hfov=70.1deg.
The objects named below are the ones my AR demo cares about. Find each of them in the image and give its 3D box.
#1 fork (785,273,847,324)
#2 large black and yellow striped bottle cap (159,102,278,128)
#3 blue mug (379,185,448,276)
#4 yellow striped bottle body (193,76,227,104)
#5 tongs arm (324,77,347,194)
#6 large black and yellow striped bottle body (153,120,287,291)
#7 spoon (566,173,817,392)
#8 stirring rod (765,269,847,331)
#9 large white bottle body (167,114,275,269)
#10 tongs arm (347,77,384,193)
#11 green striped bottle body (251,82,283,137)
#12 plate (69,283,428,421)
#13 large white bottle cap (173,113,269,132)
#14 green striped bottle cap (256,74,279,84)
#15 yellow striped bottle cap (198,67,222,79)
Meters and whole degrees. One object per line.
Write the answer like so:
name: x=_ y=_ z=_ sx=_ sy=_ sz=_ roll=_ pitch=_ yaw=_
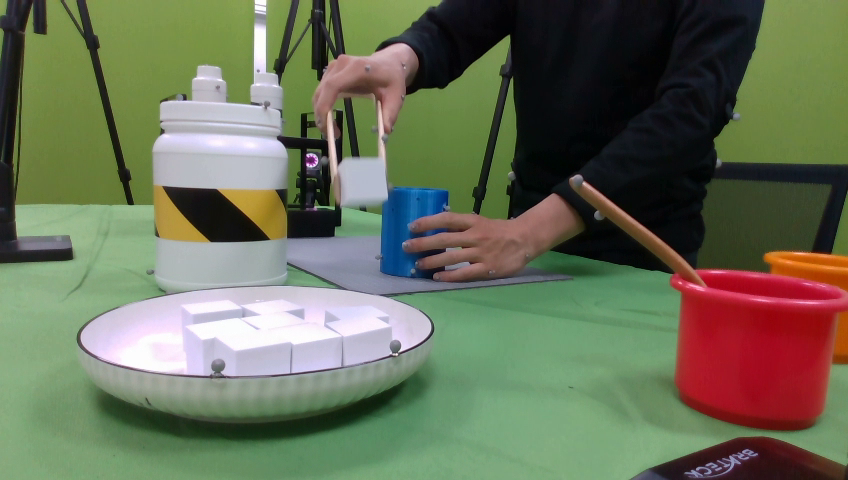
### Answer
fork: x=0.332 y=0.018 z=0.444 sx=0.028 sy=0.018 sz=0.207 roll=-1 pitch=-35 yaw=-15
large black and yellow striped bottle cap: x=-0.207 y=-0.125 z=0.615 sx=0.115 sy=0.019 sz=0.115 roll=2 pitch=6 yaw=0
blue mug: x=-0.020 y=-0.016 z=0.763 sx=0.083 sy=0.106 sz=0.116 roll=-2 pitch=8 yaw=-27
yellow striped bottle body: x=-0.414 y=-0.268 z=1.169 sx=0.063 sy=0.120 sz=0.063 roll=2 pitch=7 yaw=0
tongs arm: x=-0.091 y=-0.126 z=0.637 sx=0.028 sy=0.028 sz=0.386 roll=-7 pitch=25 yaw=-6
large black and yellow striped bottle body: x=-0.208 y=-0.042 z=0.626 sx=0.131 sy=0.184 sz=0.130 roll=2 pitch=7 yaw=0
spoon: x=0.161 y=0.024 z=0.370 sx=0.193 sy=0.021 sz=0.042 roll=47 pitch=18 yaw=3
stirring rod: x=0.352 y=0.020 z=0.484 sx=0.176 sy=0.006 sz=0.014 roll=-40 pitch=-6 yaw=13
large white bottle body: x=-0.256 y=-0.063 z=0.771 sx=0.131 sy=0.184 sz=0.130 roll=2 pitch=7 yaw=0
tongs arm: x=-0.068 y=-0.127 z=0.640 sx=0.051 sy=0.026 sz=0.384 roll=-2 pitch=25 yaw=-3
green striped bottle body: x=-0.317 y=-0.270 z=1.220 sx=0.063 sy=0.119 sz=0.063 roll=2 pitch=7 yaw=0
plate: x=-0.102 y=0.066 z=0.380 sx=0.208 sy=0.039 sz=0.207 roll=2 pitch=7 yaw=0
large white bottle cap: x=-0.254 y=-0.147 z=0.760 sx=0.115 sy=0.018 sz=0.115 roll=1 pitch=7 yaw=0
green striped bottle cap: x=-0.314 y=-0.321 z=1.214 sx=0.044 sy=0.020 sz=0.044 roll=2 pitch=8 yaw=0
yellow striped bottle cap: x=-0.411 y=-0.320 z=1.163 sx=0.044 sy=0.018 sz=0.044 roll=0 pitch=6 yaw=0
